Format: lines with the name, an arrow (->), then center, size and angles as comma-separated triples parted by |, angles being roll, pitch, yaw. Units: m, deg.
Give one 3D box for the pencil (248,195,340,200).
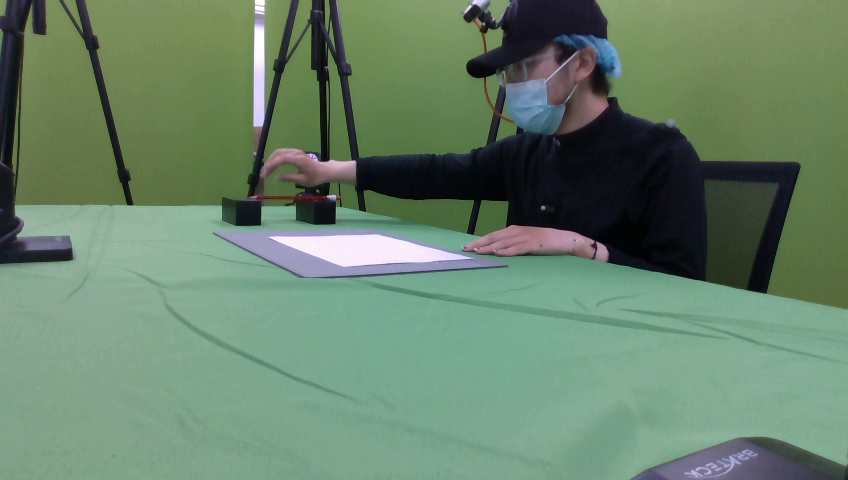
pencil -> -0.275, -0.090, 1.291 | 0.195, 0.012, 0.012 | -2, 9, -21
